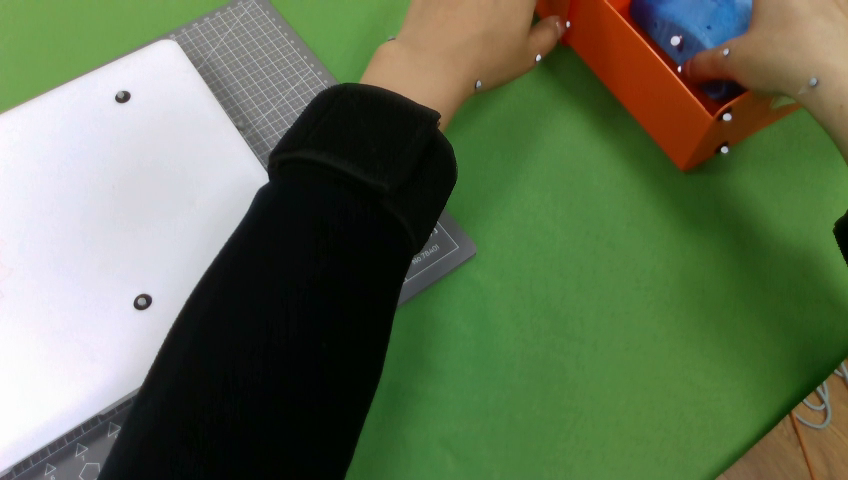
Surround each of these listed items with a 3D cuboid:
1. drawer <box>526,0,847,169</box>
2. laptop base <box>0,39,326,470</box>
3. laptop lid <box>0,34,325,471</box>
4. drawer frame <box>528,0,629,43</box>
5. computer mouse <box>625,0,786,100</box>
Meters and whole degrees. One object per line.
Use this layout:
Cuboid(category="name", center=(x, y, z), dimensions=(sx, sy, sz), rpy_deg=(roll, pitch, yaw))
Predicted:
Cuboid(category="drawer", center=(0.204, -0.180, 0.438), dimensions=(0.194, 0.074, 0.210), rpy_deg=(-28, 66, -10))
Cuboid(category="laptop base", center=(-0.267, 0.024, 0.377), dimensions=(0.354, 0.023, 0.234), rpy_deg=(-32, 70, -14))
Cuboid(category="laptop lid", center=(-0.266, 0.021, 0.366), dimensions=(0.357, 0.013, 0.239), rpy_deg=(-30, 69, -13))
Cuboid(category="drawer frame", center=(0.143, -0.284, 0.487), dimensions=(0.202, 0.083, 0.211), rpy_deg=(-26, 65, -10))
Cuboid(category="computer mouse", center=(0.202, -0.154, 0.437), dimensions=(0.063, 0.041, 0.116), rpy_deg=(-24, 61, -10))
